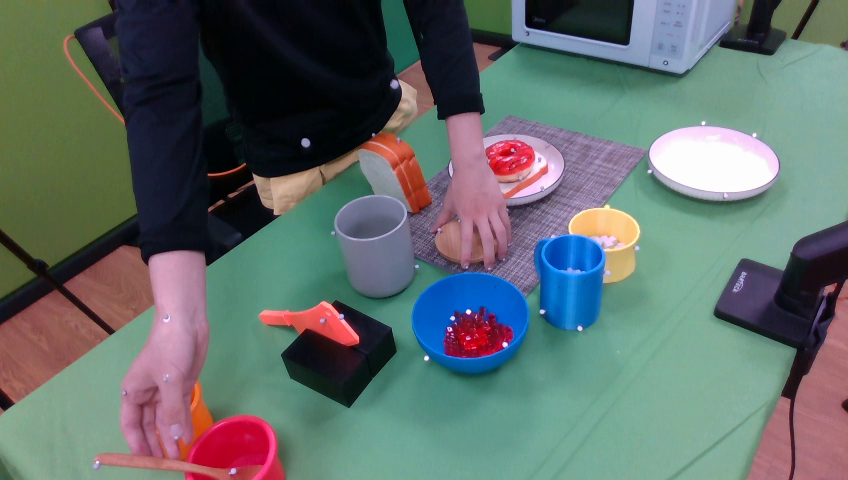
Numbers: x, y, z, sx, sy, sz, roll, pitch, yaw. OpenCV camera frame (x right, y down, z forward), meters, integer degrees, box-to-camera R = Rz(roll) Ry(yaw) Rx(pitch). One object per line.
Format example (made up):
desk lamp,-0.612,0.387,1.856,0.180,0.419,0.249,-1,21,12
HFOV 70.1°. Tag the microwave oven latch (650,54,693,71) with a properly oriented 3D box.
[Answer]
microwave oven latch,0.531,-0.386,1.301,0.078,0.029,0.030,26,51,33

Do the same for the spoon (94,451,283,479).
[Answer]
spoon,-0.239,0.239,0.632,0.195,0.021,0.041,26,34,-32

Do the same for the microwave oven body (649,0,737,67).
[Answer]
microwave oven body,0.475,-0.602,1.411,0.438,0.261,0.327,23,50,32

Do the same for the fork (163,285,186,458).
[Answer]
fork,-0.302,0.157,0.733,0.028,0.019,0.207,-3,84,15

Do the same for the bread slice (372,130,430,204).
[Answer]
bread slice,-0.042,-0.127,1.039,0.106,0.135,0.018,30,62,33

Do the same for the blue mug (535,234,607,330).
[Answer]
blue mug,0.191,0.048,0.824,0.082,0.106,0.115,-26,44,-20

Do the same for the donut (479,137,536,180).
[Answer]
donut,0.145,-0.144,1.056,0.099,0.048,0.098,-5,42,5

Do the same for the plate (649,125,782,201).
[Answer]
plate,0.493,-0.127,1.036,0.207,0.039,0.206,-4,41,4

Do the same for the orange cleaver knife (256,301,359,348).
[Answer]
orange cleaver knife,-0.161,0.116,0.813,0.210,0.077,0.012,-9,28,48

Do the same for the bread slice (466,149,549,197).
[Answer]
bread slice,0.156,-0.128,1.085,0.132,0.019,0.104,-34,48,-23

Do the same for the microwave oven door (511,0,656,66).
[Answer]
microwave oven door,0.351,-0.539,1.348,0.353,0.245,0.039,24,50,31

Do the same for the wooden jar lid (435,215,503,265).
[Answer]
wooden jar lid,0.071,0.001,0.956,0.108,0.021,0.108,-4,40,4

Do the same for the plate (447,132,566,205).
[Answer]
plate,0.146,-0.124,1.076,0.209,0.038,0.208,-4,41,4

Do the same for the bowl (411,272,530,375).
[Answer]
bowl,0.062,0.120,0.780,0.151,0.077,0.150,-4,40,4

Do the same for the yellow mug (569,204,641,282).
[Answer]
yellow mug,0.268,-0.005,0.904,0.099,0.064,0.130,7,41,15

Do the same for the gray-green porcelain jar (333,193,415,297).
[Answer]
gray-green porcelain jar,-0.070,0.012,0.887,0.106,0.127,0.105,-4,41,4
